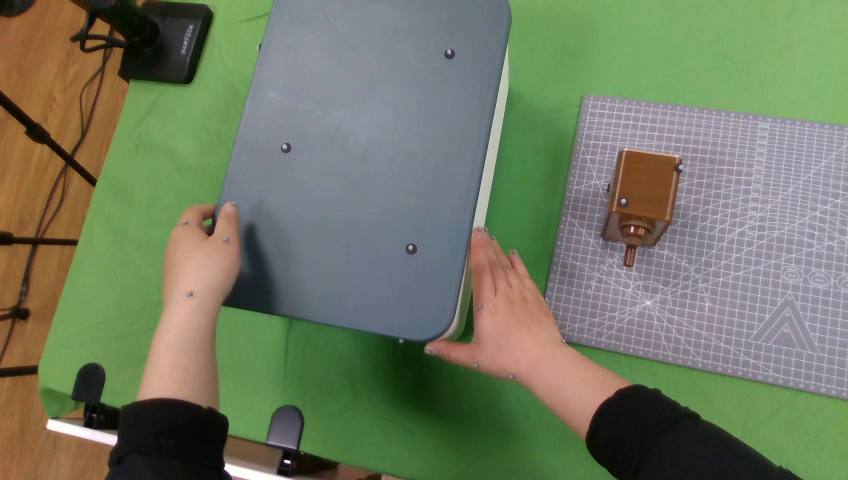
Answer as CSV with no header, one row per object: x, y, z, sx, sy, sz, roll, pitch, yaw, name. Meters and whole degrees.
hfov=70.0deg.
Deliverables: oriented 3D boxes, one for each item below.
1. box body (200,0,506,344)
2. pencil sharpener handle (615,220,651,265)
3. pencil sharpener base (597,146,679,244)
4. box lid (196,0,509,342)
-0.056,-0.078,0.679,0.253,0.161,0.362,8,78,12,box body
0.212,0.004,0.622,0.036,0.068,0.030,9,78,21,pencil sharpener handle
0.224,-0.042,0.644,0.061,0.108,0.076,11,78,13,pencil sharpener base
-0.069,-0.099,0.609,0.262,0.015,0.370,8,78,12,box lid
